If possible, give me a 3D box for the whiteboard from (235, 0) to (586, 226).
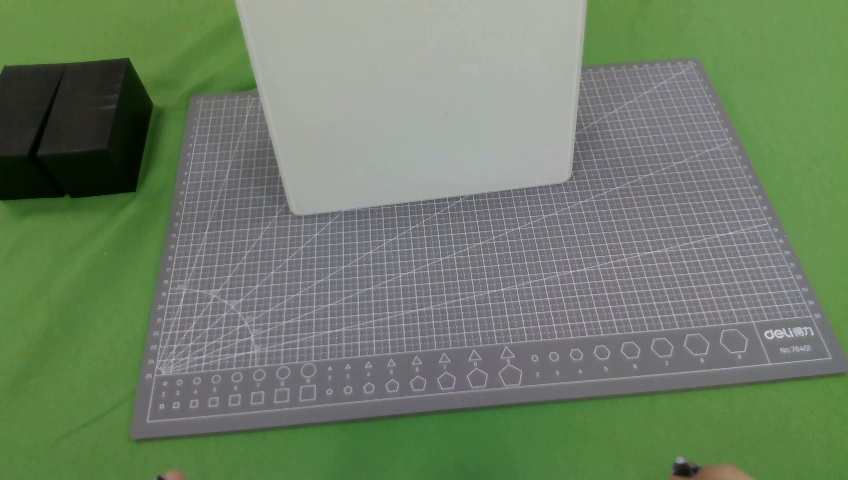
[{"bbox_3d":[-0.011,-0.186,0.421,0.217,0.308,0.142,-7,37,-2],"label":"whiteboard"}]
